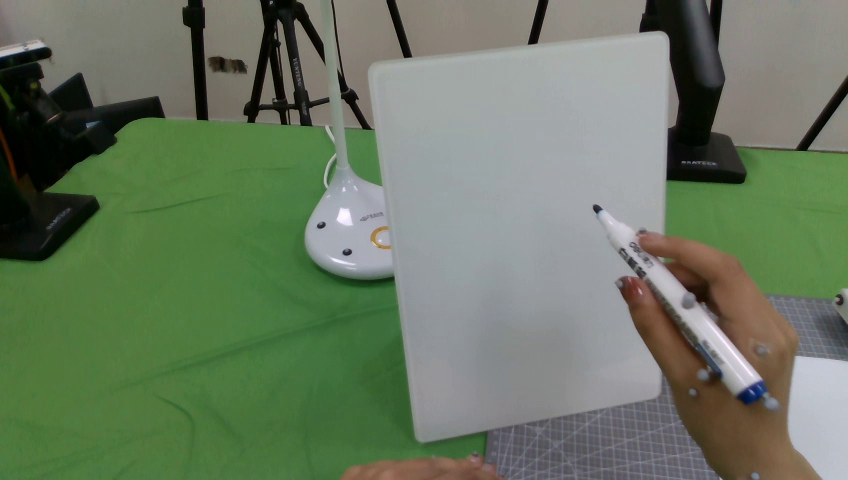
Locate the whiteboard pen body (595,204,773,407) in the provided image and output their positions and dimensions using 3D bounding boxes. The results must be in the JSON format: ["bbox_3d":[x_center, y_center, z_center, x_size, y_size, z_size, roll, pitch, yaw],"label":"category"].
[{"bbox_3d":[0.134,0.028,0.329,0.017,0.017,0.139,-17,53,-18],"label":"whiteboard pen body"}]

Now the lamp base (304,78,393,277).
[{"bbox_3d":[-0.071,-0.077,0.673,0.161,0.182,0.177,-27,42,-28],"label":"lamp base"}]

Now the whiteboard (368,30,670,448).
[{"bbox_3d":[0.074,-0.010,0.524,0.217,0.307,0.143,-8,19,-7],"label":"whiteboard"}]

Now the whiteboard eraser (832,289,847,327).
[{"bbox_3d":[0.452,0.072,0.566,0.113,0.042,0.055,-1,39,2],"label":"whiteboard eraser"}]
